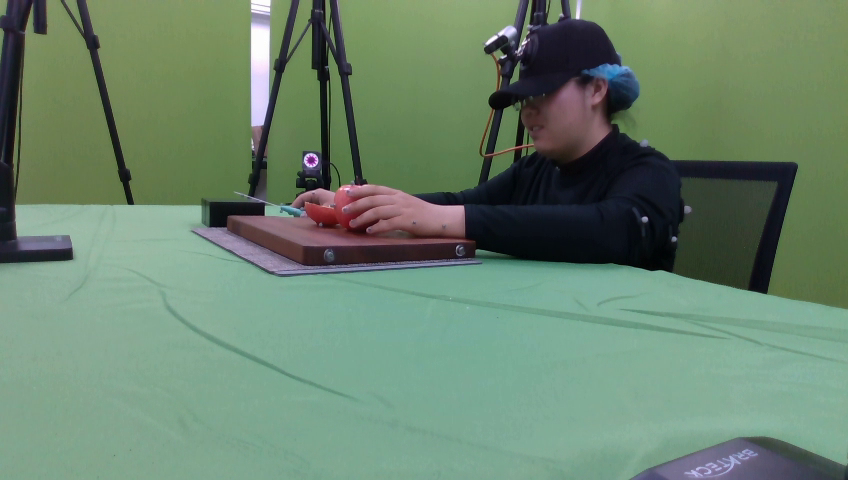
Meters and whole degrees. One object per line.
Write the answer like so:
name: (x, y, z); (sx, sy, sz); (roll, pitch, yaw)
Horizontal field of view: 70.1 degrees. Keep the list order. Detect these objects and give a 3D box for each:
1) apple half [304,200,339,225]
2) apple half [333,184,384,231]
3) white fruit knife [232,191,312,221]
apple half: (-0.163, -0.040, 1.000); (0.081, 0.033, 0.081); (16, -2, 1)
apple half: (-0.097, -0.050, 0.949); (0.081, 0.074, 0.053); (2, 11, -38)
white fruit knife: (-0.286, -0.065, 1.221); (0.208, 0.016, 0.027); (18, -2, -31)
